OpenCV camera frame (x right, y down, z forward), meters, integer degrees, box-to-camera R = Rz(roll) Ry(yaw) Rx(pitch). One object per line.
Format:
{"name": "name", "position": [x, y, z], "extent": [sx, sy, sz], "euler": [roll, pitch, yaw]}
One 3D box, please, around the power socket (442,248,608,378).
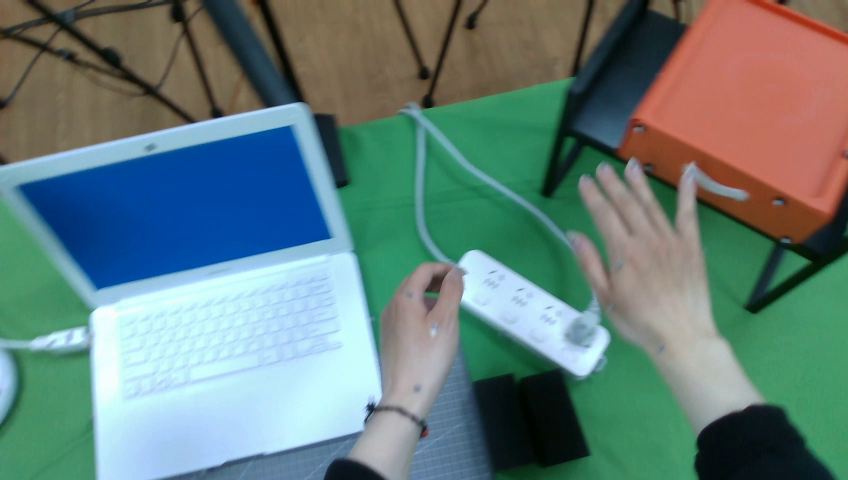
{"name": "power socket", "position": [0.129, 0.090, 0.771], "extent": [0.225, 0.033, 0.072], "euler": [33, 73, 15]}

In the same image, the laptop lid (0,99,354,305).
{"name": "laptop lid", "position": [-0.280, -0.034, 0.733], "extent": [0.357, 0.244, 0.013], "euler": [-14, 43, -2]}

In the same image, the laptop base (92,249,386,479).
{"name": "laptop base", "position": [-0.240, 0.155, 0.770], "extent": [0.354, 0.023, 0.233], "euler": [-13, 71, -3]}

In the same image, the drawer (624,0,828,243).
{"name": "drawer", "position": [0.349, -0.134, 0.632], "extent": [0.193, 0.074, 0.211], "euler": [32, 72, 14]}

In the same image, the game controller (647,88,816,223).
{"name": "game controller", "position": [0.326, -0.096, 0.633], "extent": [0.154, 0.052, 0.097], "euler": [35, 78, 17]}

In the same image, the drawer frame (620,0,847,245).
{"name": "drawer frame", "position": [0.349, -0.137, 0.632], "extent": [0.200, 0.083, 0.213], "euler": [31, 72, 14]}

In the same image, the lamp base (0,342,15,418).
{"name": "lamp base", "position": [-0.611, 0.153, 0.696], "extent": [0.160, 0.181, 0.178], "euler": [-41, 69, -13]}

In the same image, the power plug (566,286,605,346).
{"name": "power plug", "position": [0.205, 0.098, 0.740], "extent": [0.072, 0.053, 0.035], "euler": [-43, 71, -15]}

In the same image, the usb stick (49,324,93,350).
{"name": "usb stick", "position": [-0.445, 0.124, 0.777], "extent": [0.059, 0.027, 0.021], "euler": [-8, 62, -4]}
